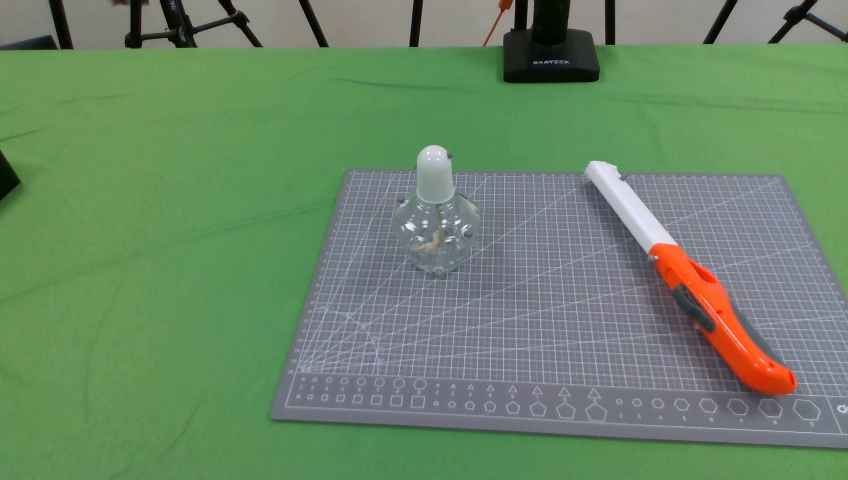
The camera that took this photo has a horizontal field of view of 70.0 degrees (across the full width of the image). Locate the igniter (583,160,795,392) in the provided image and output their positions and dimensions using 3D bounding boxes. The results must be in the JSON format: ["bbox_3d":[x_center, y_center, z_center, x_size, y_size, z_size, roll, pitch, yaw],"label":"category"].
[{"bbox_3d":[0.209,0.015,0.514,0.057,0.025,0.273,5,38,-23],"label":"igniter"}]

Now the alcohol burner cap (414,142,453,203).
[{"bbox_3d":[0.007,-0.058,0.492,0.034,0.048,0.033,-1,47,1],"label":"alcohol burner cap"}]

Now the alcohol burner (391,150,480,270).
[{"bbox_3d":[0.009,-0.031,0.517,0.078,0.120,0.077,-1,45,1],"label":"alcohol burner"}]
